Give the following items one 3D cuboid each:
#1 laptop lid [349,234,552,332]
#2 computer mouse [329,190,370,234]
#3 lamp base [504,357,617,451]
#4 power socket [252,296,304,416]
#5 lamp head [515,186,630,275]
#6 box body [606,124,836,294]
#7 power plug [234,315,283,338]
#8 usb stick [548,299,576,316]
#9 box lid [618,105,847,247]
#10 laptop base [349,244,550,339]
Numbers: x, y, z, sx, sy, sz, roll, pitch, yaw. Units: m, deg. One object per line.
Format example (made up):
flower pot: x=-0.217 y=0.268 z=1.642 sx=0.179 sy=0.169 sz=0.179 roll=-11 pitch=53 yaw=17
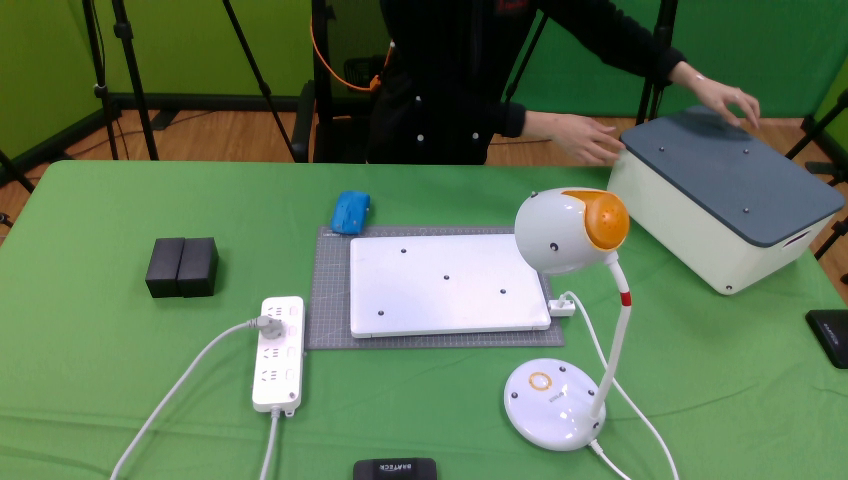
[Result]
laptop lid: x=0.040 y=0.071 z=1.118 sx=0.357 sy=0.013 sz=0.240 roll=0 pitch=44 yaw=-5
computer mouse: x=-0.150 y=-0.061 z=1.232 sx=0.063 sy=0.041 sz=0.116 roll=10 pitch=48 yaw=4
lamp base: x=0.220 y=0.211 z=0.903 sx=0.160 sy=0.181 sz=0.178 roll=-33 pitch=59 yaw=-30
power socket: x=-0.238 y=0.181 z=0.997 sx=0.072 sy=0.033 sz=0.225 roll=-3 pitch=47 yaw=-5
lamp head: x=0.188 y=-0.013 z=0.728 sx=0.112 sy=0.112 sz=0.122 roll=-25 pitch=9 yaw=-25
box body: x=0.583 y=-0.088 z=1.230 sx=0.254 sy=0.161 sz=0.361 roll=-22 pitch=52 yaw=-23
power plug: x=-0.269 y=0.143 z=1.000 sx=0.072 sy=0.053 sz=0.035 roll=4 pitch=47 yaw=3
usb stick: x=0.239 y=0.121 z=1.084 sx=0.059 sy=0.027 sz=0.021 roll=-1 pitch=51 yaw=-1
box lid: x=0.587 y=-0.138 z=1.175 sx=0.263 sy=0.015 sz=0.369 roll=-22 pitch=50 yaw=-22
laptop base: x=0.039 y=0.081 z=1.124 sx=0.355 sy=0.023 sz=0.234 roll=-2 pitch=43 yaw=-6
